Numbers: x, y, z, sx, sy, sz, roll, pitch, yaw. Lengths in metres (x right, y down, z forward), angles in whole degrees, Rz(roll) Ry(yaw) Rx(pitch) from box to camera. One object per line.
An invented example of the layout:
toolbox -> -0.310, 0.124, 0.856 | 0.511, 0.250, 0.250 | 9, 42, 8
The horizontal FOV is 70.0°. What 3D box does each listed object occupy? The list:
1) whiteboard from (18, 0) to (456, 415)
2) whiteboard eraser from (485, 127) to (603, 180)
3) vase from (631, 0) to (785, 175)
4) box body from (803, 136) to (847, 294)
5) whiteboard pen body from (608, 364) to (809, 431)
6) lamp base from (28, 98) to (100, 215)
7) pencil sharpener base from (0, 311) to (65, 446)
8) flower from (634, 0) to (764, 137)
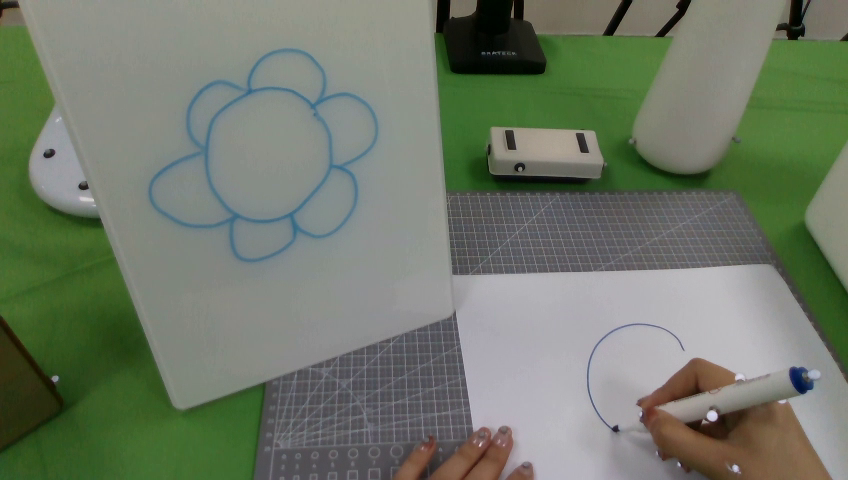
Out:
whiteboard -> -0.112, -0.069, 0.434 | 0.218, 0.308, 0.142 | -16, 31, -18
whiteboard eraser -> 0.120, -0.086, 0.614 | 0.113, 0.042, 0.055 | 0, 44, -3
vase -> 0.275, -0.161, 0.590 | 0.098, 0.201, 0.097 | 3, 46, -3
box body -> 0.494, 0.046, 0.440 | 0.254, 0.162, 0.360 | 0, 47, -4
whiteboard pen body -> 0.170, 0.104, 0.381 | 0.017, 0.141, 0.017 | 18, 55, -28
lamp base -> -0.294, -0.140, 0.531 | 0.178, 0.182, 0.160 | 29, 51, 24
pencil sharpener base -> -0.290, 0.073, 0.380 | 0.076, 0.108, 0.061 | 35, 54, 26
flower -> 0.291, -0.207, 0.522 | 0.044, 0.363, 0.038 | -21, 69, -31
